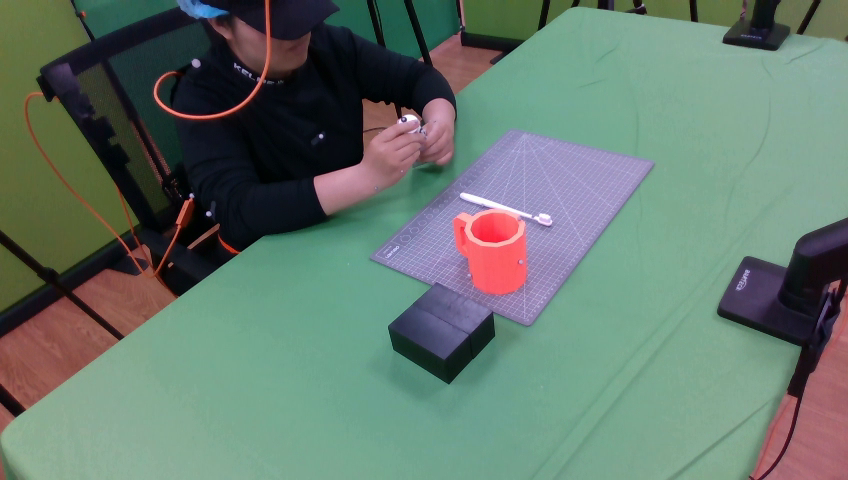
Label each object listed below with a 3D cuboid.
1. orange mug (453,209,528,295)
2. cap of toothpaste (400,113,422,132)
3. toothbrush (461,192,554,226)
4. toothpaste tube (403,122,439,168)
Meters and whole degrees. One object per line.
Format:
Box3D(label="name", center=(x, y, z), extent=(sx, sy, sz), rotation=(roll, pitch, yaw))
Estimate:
Box3D(label="orange mug", center=(0.095, 0.009, 0.894), extent=(0.125, 0.101, 0.084), rotation=(32, 55, 33))
Box3D(label="cap of toothpaste", center=(-0.022, -0.196, 1.016), extent=(0.037, 0.011, 0.037), rotation=(-1, 74, 5))
Box3D(label="toothbrush", center=(0.137, -0.056, 1.026), extent=(0.180, 0.017, 0.014), rotation=(20, 60, 32))
Box3D(label="toothpaste tube", center=(-0.008, -0.173, 1.091), extent=(0.055, 0.166, 0.034), rotation=(-12, 72, 4))
